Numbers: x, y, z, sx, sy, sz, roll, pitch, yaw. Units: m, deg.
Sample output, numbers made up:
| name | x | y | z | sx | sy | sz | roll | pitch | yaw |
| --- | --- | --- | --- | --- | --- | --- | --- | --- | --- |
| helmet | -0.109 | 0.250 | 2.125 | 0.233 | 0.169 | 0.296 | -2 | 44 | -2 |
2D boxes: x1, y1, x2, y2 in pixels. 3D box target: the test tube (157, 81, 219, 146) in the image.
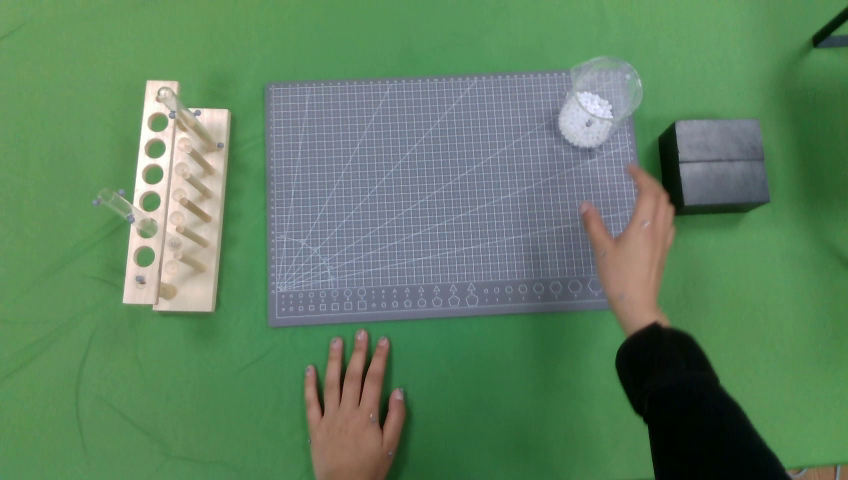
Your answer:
| name | x | y | z | sx | sy | sz | roll | pitch | yaw |
| --- | --- | --- | --- | --- | --- | --- | --- | --- | --- |
| test tube | -0.249 | -0.132 | 0.646 | 0.017 | 0.151 | 0.017 | 0 | 79 | -2 |

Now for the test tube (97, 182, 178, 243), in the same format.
| name | x | y | z | sx | sy | sz | roll | pitch | yaw |
| --- | --- | --- | --- | --- | --- | --- | --- | --- | --- |
| test tube | -0.289 | -0.024 | 0.621 | 0.017 | 0.151 | 0.017 | 0 | 73 | 1 |

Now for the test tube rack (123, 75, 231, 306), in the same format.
| name | x | y | z | sx | sy | sz | roll | pitch | yaw |
| --- | --- | --- | --- | --- | --- | --- | --- | --- | --- |
| test tube rack | -0.271 | -0.051 | 0.677 | 0.067 | 0.085 | 0.241 | 2 | 80 | -1 |

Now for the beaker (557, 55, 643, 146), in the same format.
| name | x | y | z | sx | sy | sz | roll | pitch | yaw |
| --- | --- | --- | --- | --- | --- | --- | --- | --- | --- |
| beaker | 0.195 | -0.157 | 0.699 | 0.084 | 0.100 | 0.074 | 34 | 80 | 6 |
